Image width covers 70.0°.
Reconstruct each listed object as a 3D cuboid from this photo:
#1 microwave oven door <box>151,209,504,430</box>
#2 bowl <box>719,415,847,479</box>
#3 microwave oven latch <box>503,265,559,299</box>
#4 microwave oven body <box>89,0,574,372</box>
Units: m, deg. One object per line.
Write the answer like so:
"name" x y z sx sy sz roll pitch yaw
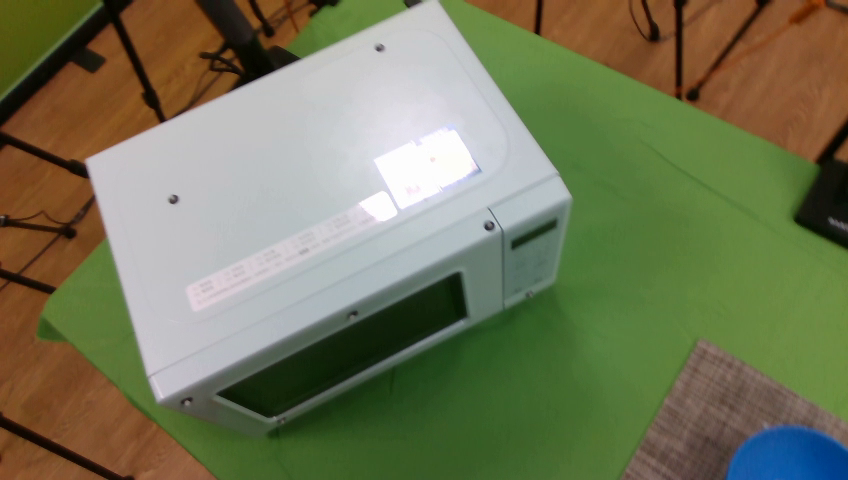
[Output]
"microwave oven door" -0.076 0.099 0.671 0.356 0.246 0.039 -26 65 -5
"bowl" 0.386 0.269 0.646 0.151 0.077 0.150 -3 66 6
"microwave oven latch" 0.134 0.046 0.782 0.079 0.030 0.030 -25 66 -4
"microwave oven body" -0.100 -0.034 0.739 0.442 0.262 0.323 -26 66 -4
